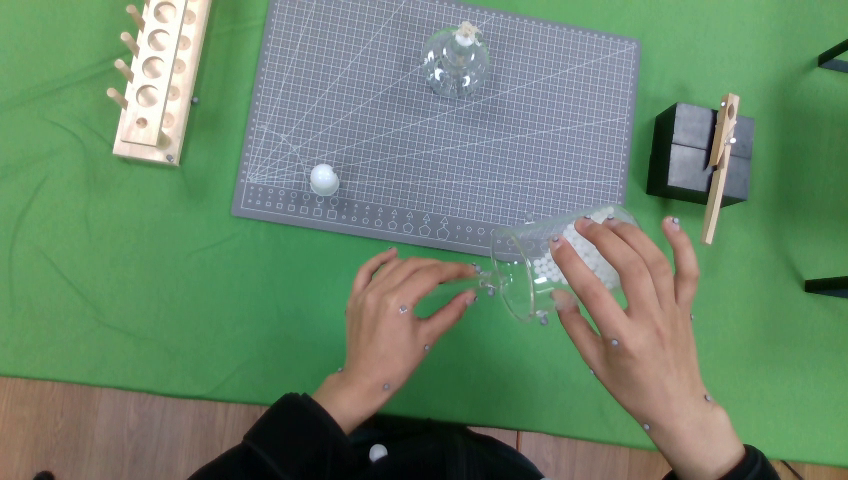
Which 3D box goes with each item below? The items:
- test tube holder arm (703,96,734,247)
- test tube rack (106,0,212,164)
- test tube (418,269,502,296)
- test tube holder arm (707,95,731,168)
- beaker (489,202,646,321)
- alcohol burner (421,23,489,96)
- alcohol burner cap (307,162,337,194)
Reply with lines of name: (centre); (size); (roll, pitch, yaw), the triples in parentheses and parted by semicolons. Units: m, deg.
test tube holder arm: (0.340, -0.080, 0.698); (0.013, 0.015, 0.178); (10, 84, -4)
test tube rack: (-0.279, -0.212, 0.636); (0.067, 0.085, 0.241); (9, 83, -6)
test tube: (0.029, 0.040, 0.557); (0.017, 0.150, 0.017); (3, 81, -23)
test tube holder arm: (0.342, -0.125, 0.703); (0.010, 0.015, 0.087); (12, 83, -4)
beaker: (0.108, 0.014, 0.464); (0.100, 0.084, 0.074); (-13, 83, -13)
alcohol burner: (0.036, -0.204, 0.664); (0.078, 0.119, 0.077); (1, 84, -6)
alcohol burner cap: (-0.112, -0.070, 0.664); (0.034, 0.048, 0.034); (1, 84, -8)
